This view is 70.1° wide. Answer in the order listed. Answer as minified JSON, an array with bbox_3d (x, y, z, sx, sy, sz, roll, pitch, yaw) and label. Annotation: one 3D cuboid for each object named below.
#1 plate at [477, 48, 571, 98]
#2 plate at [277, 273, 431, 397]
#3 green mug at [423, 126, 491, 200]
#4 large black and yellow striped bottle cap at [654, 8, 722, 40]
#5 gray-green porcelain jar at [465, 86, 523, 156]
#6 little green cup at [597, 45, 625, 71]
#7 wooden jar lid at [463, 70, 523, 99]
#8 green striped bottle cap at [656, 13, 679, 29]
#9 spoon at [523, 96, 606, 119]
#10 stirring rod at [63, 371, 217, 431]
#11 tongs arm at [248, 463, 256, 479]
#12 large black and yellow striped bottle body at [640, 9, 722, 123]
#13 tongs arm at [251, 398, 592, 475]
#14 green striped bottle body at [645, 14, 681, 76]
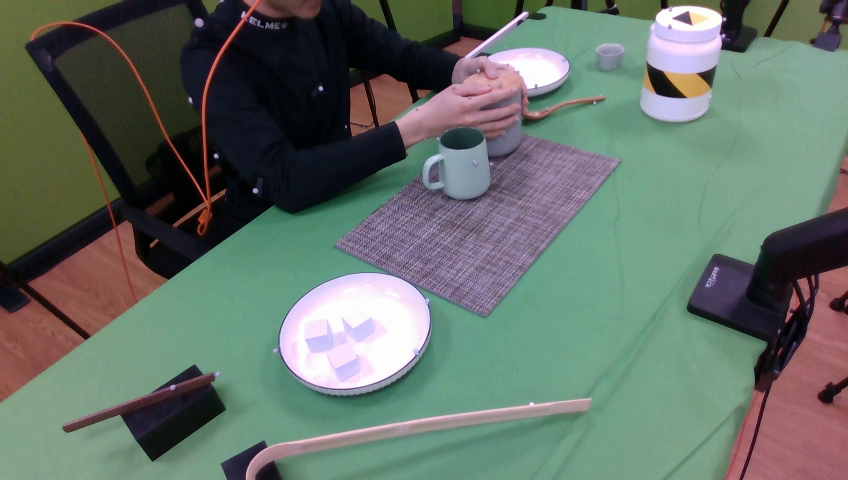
[{"bbox_3d":[0.222,-0.371,1.357,0.209,0.038,0.208,-4,41,4],"label":"plate"},{"bbox_3d":[-0.091,0.129,0.821,0.207,0.039,0.206,-4,40,4],"label":"plate"},{"bbox_3d":[0.055,-0.126,1.040,0.126,0.105,0.091,-25,44,-18],"label":"green mug"},{"bbox_3d":[0.483,-0.397,1.108,0.115,0.019,0.114,-3,41,3],"label":"large black and yellow striped bottle cap"},{"bbox_3d":[0.131,-0.231,1.131,0.106,0.127,0.105,-3,41,3],"label":"gray-green porcelain jar"},{"bbox_3d":[0.422,-0.413,1.375,0.061,0.039,0.061,-3,41,3],"label":"little green cup"},{"bbox_3d":[0.124,-0.276,1.090,0.108,0.021,0.108,-5,38,4],"label":"wooden jar lid"},{"bbox_3d":[0.515,-0.463,1.278,0.044,0.020,0.044,-6,42,6],"label":"green striped bottle cap"},{"bbox_3d":[0.291,-0.277,1.249,0.194,0.022,0.041,-17,24,-11],"label":"spoon"},{"bbox_3d":[-0.337,0.192,0.723,0.177,0.014,0.005,-18,43,-12],"label":"stirring rod"},{"bbox_3d":[0.012,0.263,0.615,0.385,0.026,0.050,2,41,-2],"label":"tongs arm"},{"bbox_3d":[0.493,-0.334,1.161,0.131,0.185,0.130,-4,41,4],"label":"large black and yellow striped bottle body"},{"bbox_3d":[0.008,0.213,0.675,0.389,0.028,0.028,-5,46,-11],"label":"tongs arm"},{"bbox_3d":[0.520,-0.424,1.312,0.063,0.120,0.063,-4,40,4],"label":"green striped bottle body"}]
